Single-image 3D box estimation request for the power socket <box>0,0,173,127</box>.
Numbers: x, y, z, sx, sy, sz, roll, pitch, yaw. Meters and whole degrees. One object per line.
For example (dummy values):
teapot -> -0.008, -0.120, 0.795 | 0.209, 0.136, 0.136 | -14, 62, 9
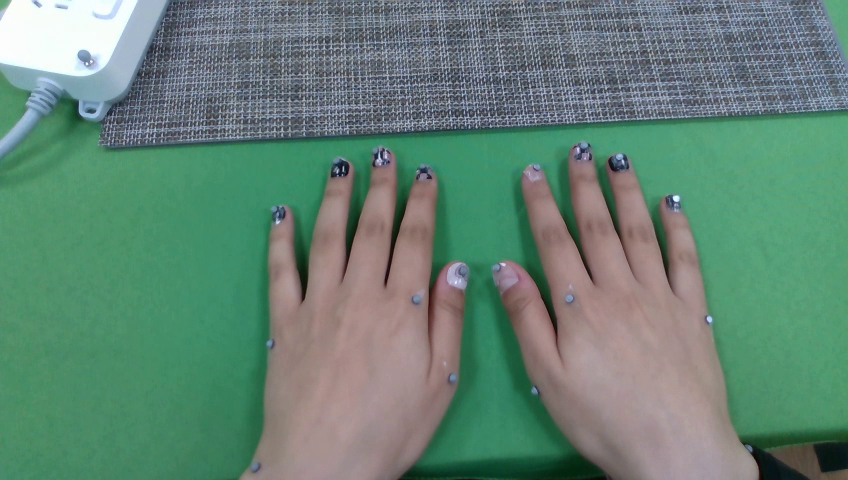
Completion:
power socket -> -0.189, -0.176, 0.376 | 0.072, 0.033, 0.225 | 11, 68, 3
